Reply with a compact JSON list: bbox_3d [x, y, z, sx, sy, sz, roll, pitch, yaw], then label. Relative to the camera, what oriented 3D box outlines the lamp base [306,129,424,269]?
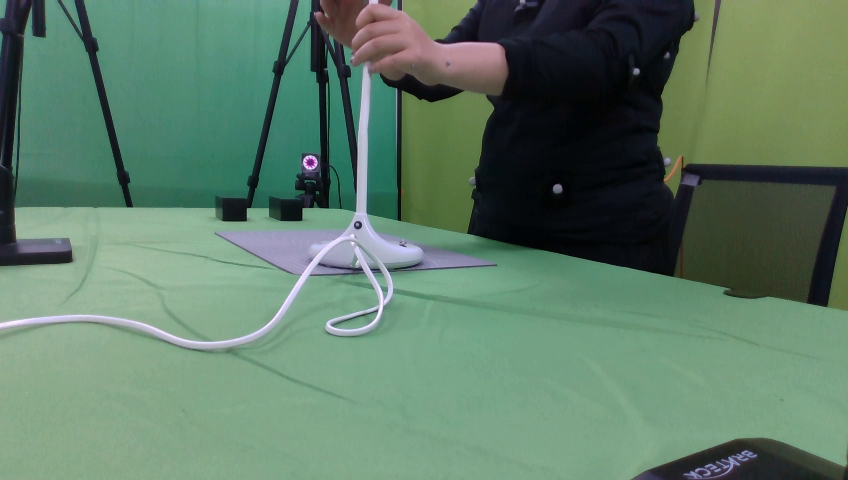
[{"bbox_3d":[-0.077,-0.057,0.811,0.161,0.180,0.179,2,10,-4],"label":"lamp base"}]
